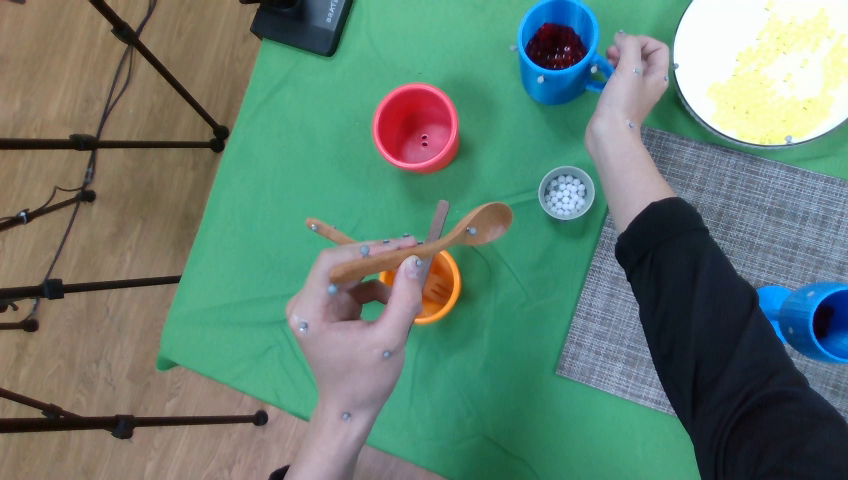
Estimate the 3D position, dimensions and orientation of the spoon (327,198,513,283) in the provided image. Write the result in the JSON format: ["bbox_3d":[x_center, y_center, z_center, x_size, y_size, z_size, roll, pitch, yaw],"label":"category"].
[{"bbox_3d":[0.007,0.001,0.420,0.021,0.194,0.042,38,122,22],"label":"spoon"}]

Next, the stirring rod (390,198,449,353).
[{"bbox_3d":[-0.005,0.039,0.659,0.014,0.006,0.176,18,89,12],"label":"stirring rod"}]

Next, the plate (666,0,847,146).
[{"bbox_3d":[0.372,-0.203,0.663,0.209,0.038,0.209,-1,87,10],"label":"plate"}]

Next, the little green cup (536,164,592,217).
[{"bbox_3d":[0.160,-0.054,0.692,0.061,0.039,0.061,-1,87,11],"label":"little green cup"}]

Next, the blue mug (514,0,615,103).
[{"bbox_3d":[0.157,-0.199,0.667,0.116,0.106,0.082,31,92,11],"label":"blue mug"}]

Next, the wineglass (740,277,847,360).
[{"bbox_3d":[0.362,0.071,0.576,0.073,0.173,0.073,-1,86,11],"label":"wineglass"}]

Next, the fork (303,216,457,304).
[{"bbox_3d":[-0.044,0.023,0.669,0.209,0.018,0.028,30,100,-33],"label":"fork"}]
